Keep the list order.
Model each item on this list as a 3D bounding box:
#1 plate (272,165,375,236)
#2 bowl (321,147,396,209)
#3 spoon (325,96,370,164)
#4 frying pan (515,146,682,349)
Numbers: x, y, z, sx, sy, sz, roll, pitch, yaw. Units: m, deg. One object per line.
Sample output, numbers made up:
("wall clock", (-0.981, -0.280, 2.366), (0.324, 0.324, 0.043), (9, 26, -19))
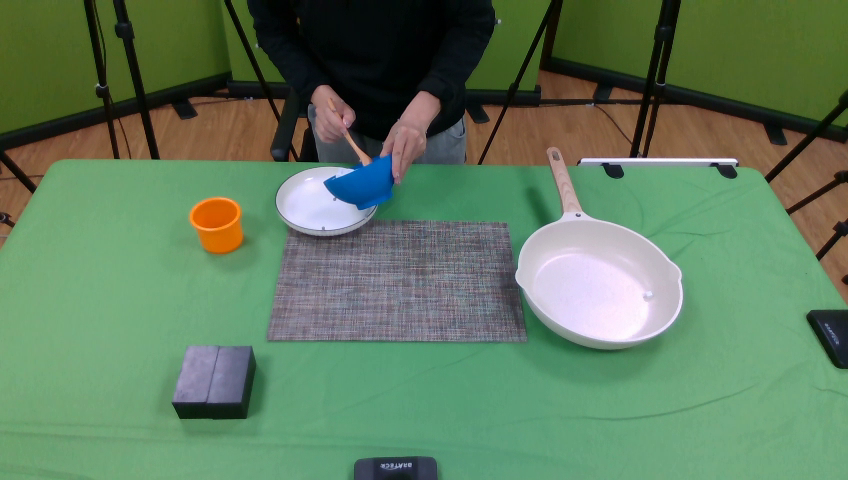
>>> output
("plate", (-0.204, -0.076, 1.240), (0.208, 0.039, 0.206), (3, 44, -2))
("bowl", (-0.111, -0.109, 1.150), (0.151, 0.077, 0.151), (-24, 13, 6))
("spoon", (-0.143, -0.193, 1.176), (0.193, 0.021, 0.041), (56, 31, 0))
("frying pan", (0.303, -0.004, 1.168), (0.307, 0.103, 0.484), (-2, 55, -7))
